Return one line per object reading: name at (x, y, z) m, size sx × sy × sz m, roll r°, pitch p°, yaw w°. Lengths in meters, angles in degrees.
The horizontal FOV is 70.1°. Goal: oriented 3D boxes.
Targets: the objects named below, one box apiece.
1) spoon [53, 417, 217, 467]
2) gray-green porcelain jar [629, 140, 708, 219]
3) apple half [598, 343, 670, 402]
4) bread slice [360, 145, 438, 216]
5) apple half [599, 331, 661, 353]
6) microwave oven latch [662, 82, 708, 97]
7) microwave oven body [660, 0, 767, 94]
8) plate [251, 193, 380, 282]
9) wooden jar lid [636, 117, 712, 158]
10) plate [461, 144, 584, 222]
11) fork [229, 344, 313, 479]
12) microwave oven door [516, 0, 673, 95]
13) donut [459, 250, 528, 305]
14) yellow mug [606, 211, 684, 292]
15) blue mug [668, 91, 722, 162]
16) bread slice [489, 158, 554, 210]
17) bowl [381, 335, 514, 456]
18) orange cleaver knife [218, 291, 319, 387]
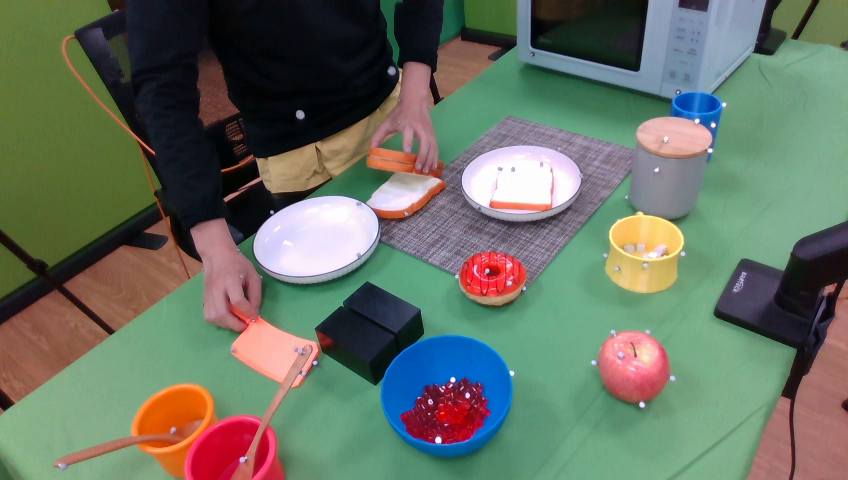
spoon at (-0.308, 0.219, 0.663) m, size 0.041 × 0.195 × 0.021 m, roll 25°, pitch 94°, yaw 29°
gray-green porcelain jar at (0.383, -0.104, 0.958) m, size 0.106 × 0.127 × 0.105 m, roll -4°, pitch 41°, yaw 4°
apple half at (0.247, 0.161, 0.710) m, size 0.081 × 0.075 × 0.053 m, roll 2°, pitch 47°, yaw 5°
bread slice at (-0.053, -0.103, 1.046) m, size 0.106 × 0.018 × 0.134 m, roll 18°, pitch 67°, yaw 22°
apple half at (0.249, 0.134, 0.738) m, size 0.081 × 0.081 × 0.032 m, roll -1°, pitch 45°, yaw 7°
microwave oven latch at (0.518, -0.298, 1.203) m, size 0.078 × 0.029 × 0.030 m, roll 28°, pitch 53°, yaw 35°
microwave oven body at (0.474, -0.517, 1.313) m, size 0.438 × 0.261 × 0.327 m, roll 26°, pitch 51°, yaw 34°
plate at (-0.174, -0.001, 0.984) m, size 0.209 × 0.038 × 0.208 m, roll -3°, pitch 40°, yaw 3°
wooden jar lid at (0.377, -0.151, 0.917) m, size 0.108 × 0.021 × 0.108 m, roll -2°, pitch 41°, yaw 3°
plate at (0.168, -0.095, 1.040) m, size 0.207 × 0.039 × 0.206 m, roll -4°, pitch 40°, yaw 4°
fork at (-0.173, 0.205, 0.662) m, size 0.028 × 0.019 × 0.207 m, roll 29°, pitch 94°, yaw 36°
microwave oven door at (0.344, -0.458, 1.256) m, size 0.353 × 0.245 × 0.039 m, roll 26°, pitch 51°, yaw 33°
donut at (0.100, 0.053, 0.872) m, size 0.099 × 0.048 × 0.098 m, roll -5°, pitch 40°, yaw 4°
yellow mug at (0.318, 0.008, 0.883) m, size 0.100 × 0.064 × 0.130 m, roll 0°, pitch 40°, yaw 9°
blue mug at (0.474, -0.207, 1.079) m, size 0.082 × 0.106 × 0.116 m, roll 4°, pitch 42°, yaw 13°
bread slice at (0.172, -0.099, 1.047) m, size 0.104 × 0.019 × 0.131 m, roll 4°, pitch 43°, yaw 12°
bowl at (0.029, 0.192, 0.701) m, size 0.151 × 0.077 × 0.150 m, roll -4°, pitch 40°, yaw 4°
orange cleaver knife at (-0.234, 0.135, 0.849) m, size 0.209 × 0.012 × 0.077 m, roll 26°, pitch 61°, yaw 30°
